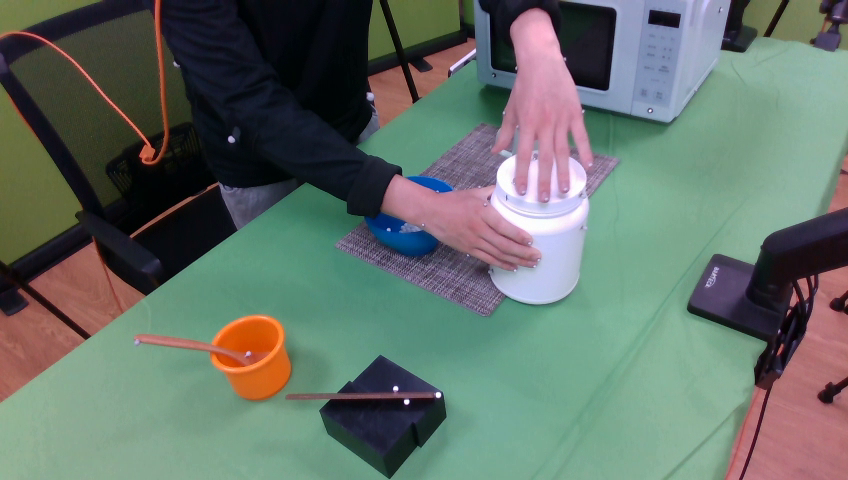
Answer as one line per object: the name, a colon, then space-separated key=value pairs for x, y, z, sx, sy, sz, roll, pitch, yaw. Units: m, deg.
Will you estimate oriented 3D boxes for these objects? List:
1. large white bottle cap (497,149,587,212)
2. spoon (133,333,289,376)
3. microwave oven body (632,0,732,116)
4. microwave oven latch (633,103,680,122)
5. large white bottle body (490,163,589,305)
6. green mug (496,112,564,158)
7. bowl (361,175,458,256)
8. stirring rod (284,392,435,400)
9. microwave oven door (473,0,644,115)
large white bottle cap: x=0.152 y=-0.078 z=0.778 sx=0.115 sy=0.018 sz=0.114 roll=-2 pitch=43 yaw=2
spoon: x=-0.257 y=0.137 z=0.747 sx=0.195 sy=0.021 sz=0.041 roll=25 pitch=26 yaw=-36
microwave oven body: x=0.377 y=-0.462 z=1.267 sx=0.438 sy=0.261 sz=0.327 roll=21 pitch=48 yaw=30
microwave oven latch: x=0.443 y=-0.249 z=1.157 sx=0.078 sy=0.029 sz=0.030 roll=20 pitch=48 yaw=30
large white bottle body: x=0.157 y=-0.015 z=0.834 sx=0.130 sy=0.185 sz=0.130 roll=-3 pitch=43 yaw=3
green mug: x=0.185 y=-0.161 z=1.061 sx=0.124 sy=0.105 sz=0.092 roll=15 pitch=46 yaw=25
bowl: x=-0.019 y=-0.029 z=0.955 sx=0.151 sy=0.077 sz=0.150 roll=-4 pitch=40 yaw=3
stirring rod: x=-0.075 y=0.180 z=0.698 sx=0.176 sy=0.006 sz=0.014 roll=-2 pitch=5 yaw=6
microwave oven door: x=0.257 y=-0.396 z=1.199 sx=0.353 sy=0.245 sz=0.039 roll=21 pitch=48 yaw=29
